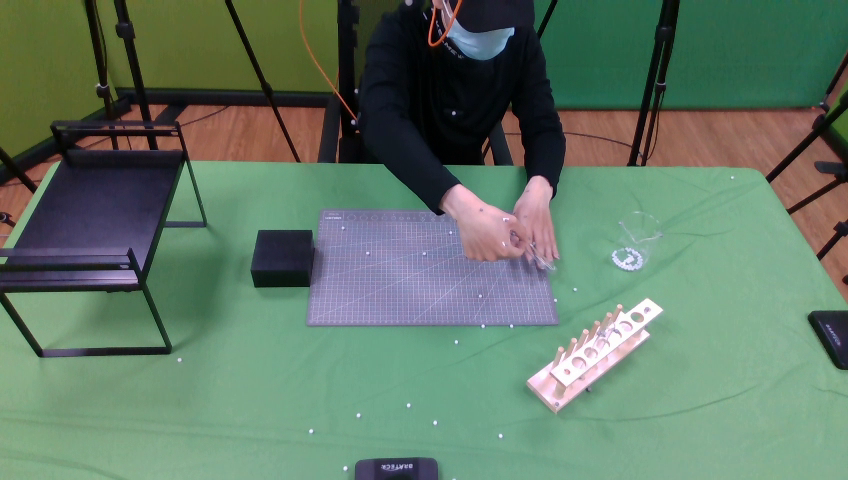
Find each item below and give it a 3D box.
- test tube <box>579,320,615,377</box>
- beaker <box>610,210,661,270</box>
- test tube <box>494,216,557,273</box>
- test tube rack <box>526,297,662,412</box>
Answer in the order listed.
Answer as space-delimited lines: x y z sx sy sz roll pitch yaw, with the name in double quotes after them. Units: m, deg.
0.265 0.171 0.942 0.017 0.151 0.017 4 48 -4 "test tube"
0.404 0.005 1.169 0.074 0.101 0.083 20 49 15 "beaker"
0.178 0.007 1.064 0.017 0.017 0.149 -29 56 -28 "test tube"
0.284 0.176 1.007 0.242 0.085 0.066 -29 54 -27 "test tube rack"
